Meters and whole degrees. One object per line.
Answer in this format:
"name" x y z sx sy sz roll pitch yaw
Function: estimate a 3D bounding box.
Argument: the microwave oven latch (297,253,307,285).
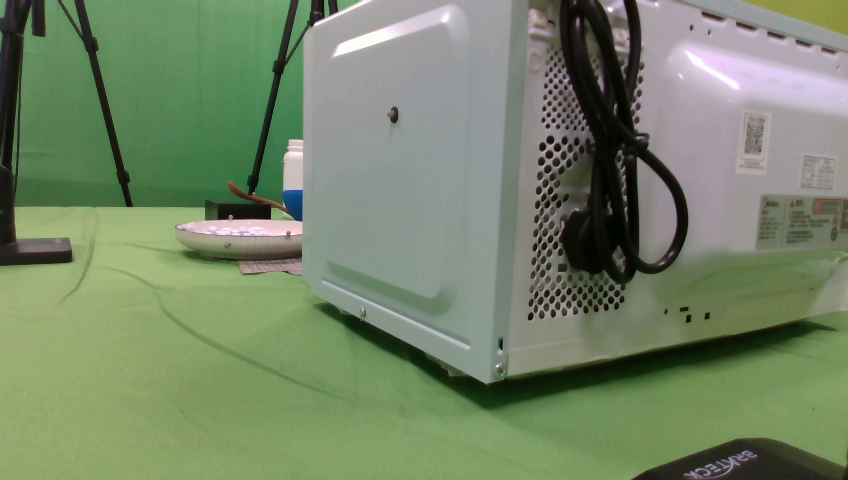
"microwave oven latch" -0.082 0.027 0.582 0.079 0.029 0.030 -1 8 -33

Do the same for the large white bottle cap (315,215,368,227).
"large white bottle cap" -0.178 -0.041 1.309 0.115 0.018 0.115 2 6 0

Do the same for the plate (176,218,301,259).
"plate" -0.248 -0.003 0.877 0.209 0.038 0.209 1 8 0

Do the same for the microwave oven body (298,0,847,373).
"microwave oven body" 0.151 -0.055 0.543 0.444 0.260 0.324 -1 8 -33

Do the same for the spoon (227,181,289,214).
"spoon" -0.315 -0.074 1.235 0.195 0.021 0.041 24 -10 -37

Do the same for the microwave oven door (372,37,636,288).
"microwave oven door" 0.110 -0.080 0.686 0.358 0.243 0.039 -2 9 -33

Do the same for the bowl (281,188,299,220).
"bowl" -0.190 -0.053 1.129 0.151 0.077 0.151 3 8 0

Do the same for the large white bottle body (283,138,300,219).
"large white bottle body" -0.265 -0.143 1.423 0.131 0.184 0.130 2 7 0
